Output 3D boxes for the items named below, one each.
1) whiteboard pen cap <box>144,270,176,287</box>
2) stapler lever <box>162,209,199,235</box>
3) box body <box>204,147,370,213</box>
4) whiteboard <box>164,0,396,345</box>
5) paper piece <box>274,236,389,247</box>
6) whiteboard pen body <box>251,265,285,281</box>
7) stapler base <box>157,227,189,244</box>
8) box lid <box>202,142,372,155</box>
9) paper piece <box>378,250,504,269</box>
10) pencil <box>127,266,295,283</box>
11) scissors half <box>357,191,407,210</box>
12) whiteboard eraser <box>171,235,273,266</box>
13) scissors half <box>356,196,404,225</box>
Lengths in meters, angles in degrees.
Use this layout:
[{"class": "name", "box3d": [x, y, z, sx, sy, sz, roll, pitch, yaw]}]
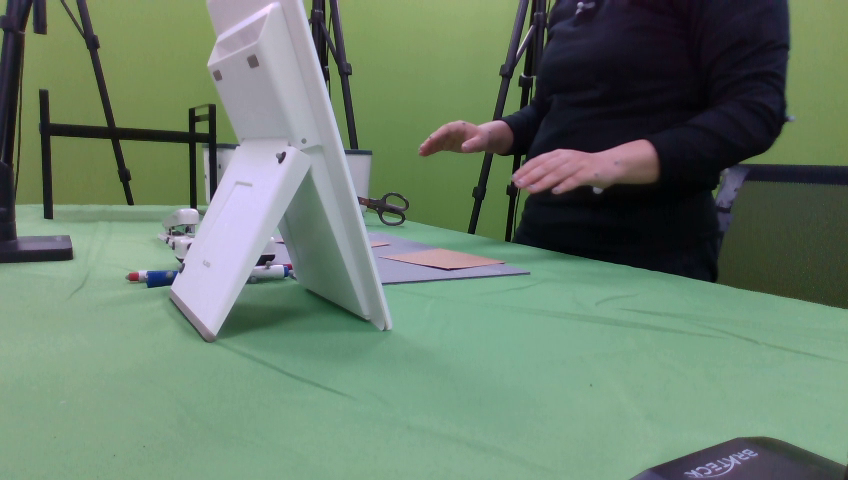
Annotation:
[{"class": "whiteboard pen cap", "box3d": [-0.271, 0.039, 0.627, 0.033, 0.018, 0.018, -3, 10, -32]}, {"class": "stapler lever", "box3d": [-0.376, -0.031, 0.933, 0.027, 0.040, 0.117, 0, 7, -38]}, {"class": "box body", "box3d": [-0.347, -0.152, 1.519, 0.366, 0.160, 0.253, -2, 9, -31]}, {"class": "whiteboard", "box3d": [-0.173, -0.053, 0.511, 0.144, 0.305, 0.216, -23, 19, -26]}, {"class": "paper piece", "box3d": [-0.151, 0.003, 0.978, 0.135, 0.008, 0.139, 13, 10, 35]}, {"class": "whiteboard pen body", "box3d": [-0.220, 0.039, 0.656, 0.141, 0.017, 0.017, -2, 9, -31]}, {"class": "stapler base", "box3d": [-0.376, -0.007, 0.935, 0.041, 0.024, 0.130, 1, 5, -38]}, {"class": "box lid", "box3d": [-0.344, -0.225, 1.509, 0.373, 0.015, 0.262, -2, 8, -31]}, {"class": "paper piece", "box3d": [0.025, 0.026, 0.865, 0.134, 0.004, 0.136, 9, 9, 43]}, {"class": "pencil", "box3d": [-0.231, 0.037, 0.690, 0.195, 0.012, 0.012, -2, 9, -34]}, {"class": "scissors half", "box3d": [-0.123, -0.092, 1.318, 0.175, 0.040, 0.013, 6, 11, -3]}, {"class": "whiteboard eraser", "box3d": [-0.248, 0.014, 0.747, 0.113, 0.042, 0.055, -1, 10, -32]}, {"class": "scissors half", "box3d": [-0.127, -0.072, 1.321, 0.175, 0.040, 0.013, 22, 5, -5]}]
